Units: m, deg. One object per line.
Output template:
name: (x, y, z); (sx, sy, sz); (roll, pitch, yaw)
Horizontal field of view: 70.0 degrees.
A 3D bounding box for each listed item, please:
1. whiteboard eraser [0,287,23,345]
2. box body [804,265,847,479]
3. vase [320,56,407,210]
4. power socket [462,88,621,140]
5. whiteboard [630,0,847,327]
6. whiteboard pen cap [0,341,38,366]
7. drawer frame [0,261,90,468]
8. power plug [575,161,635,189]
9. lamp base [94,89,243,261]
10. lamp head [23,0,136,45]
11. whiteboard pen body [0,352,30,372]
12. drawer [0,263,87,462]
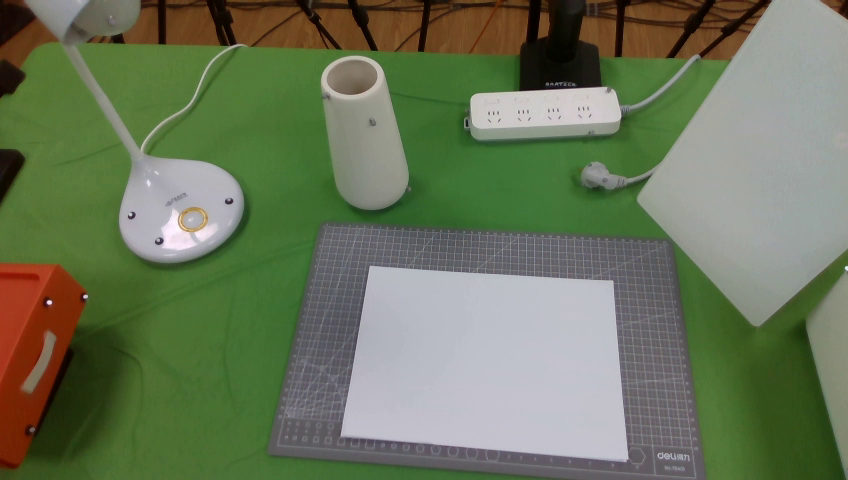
whiteboard eraser: (-0.495, 0.098, 0.681); (0.112, 0.042, 0.055); (-27, 66, 21)
box body: (0.531, 0.187, 0.537); (0.254, 0.162, 0.361); (2, 58, 4)
vase: (-0.076, -0.125, 0.743); (0.098, 0.202, 0.097); (-2, 57, 3)
power socket: (0.168, -0.180, 0.866); (0.227, 0.033, 0.071); (-1, 58, 1)
whiteboard: (0.419, -0.089, 0.670); (0.144, 0.307, 0.215); (-14, 55, -29)
whiteboard pen cap: (-0.432, 0.121, 0.645); (0.033, 0.018, 0.018); (-23, 59, -16)
drawer frame: (-0.498, 0.121, 0.626); (0.213, 0.083, 0.200); (2, 59, 3)
power plug: (0.238, -0.082, 0.811); (0.073, 0.035, 0.052); (16, 20, -34)
lamp base: (-0.334, -0.089, 0.743); (0.178, 0.182, 0.160); (32, 64, 24)
lamp head: (-0.299, -0.239, 0.492); (0.123, 0.112, 0.112); (44, 63, -16)
whiteboard pen body: (-0.483, 0.144, 0.626); (0.141, 0.017, 0.017); (-21, 58, -15)
drawer: (-0.492, 0.118, 0.623); (0.211, 0.074, 0.193); (2, 58, 4)
